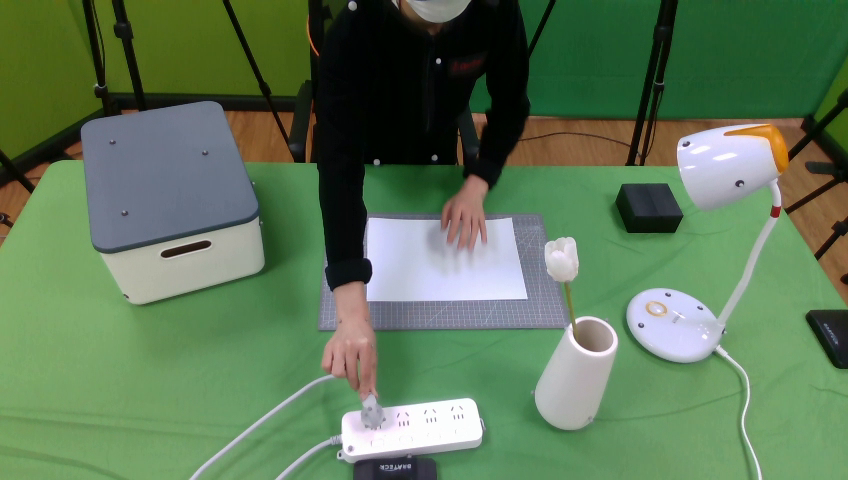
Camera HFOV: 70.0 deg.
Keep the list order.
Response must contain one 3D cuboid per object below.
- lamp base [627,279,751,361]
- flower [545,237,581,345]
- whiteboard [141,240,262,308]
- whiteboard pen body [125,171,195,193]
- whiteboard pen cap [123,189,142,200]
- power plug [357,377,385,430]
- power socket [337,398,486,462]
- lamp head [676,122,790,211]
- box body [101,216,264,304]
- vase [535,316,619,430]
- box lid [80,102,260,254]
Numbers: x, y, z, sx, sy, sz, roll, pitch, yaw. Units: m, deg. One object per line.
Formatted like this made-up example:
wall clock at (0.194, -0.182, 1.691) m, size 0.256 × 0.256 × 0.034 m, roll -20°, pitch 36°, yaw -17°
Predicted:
lamp base at (0.460, 0.100, 1.027) m, size 0.178 × 0.181 × 0.160 m, roll 27°, pitch 51°, yaw 17°
flower at (0.213, 0.137, 0.846) m, size 0.038 × 0.364 × 0.044 m, roll 22°, pitch 55°, yaw 40°
whiteboard at (-0.464, -0.059, 1.137) m, size 0.217 × 0.144 × 0.303 m, roll -19°, pitch 51°, yaw -17°
whiteboard pen body at (-0.553, -0.119, 1.270) m, size 0.141 × 0.017 × 0.017 m, roll -18°, pitch 50°, yaw -15°
whiteboard pen cap at (-0.591, -0.093, 1.231) m, size 0.033 × 0.018 × 0.018 m, roll -13°, pitch 49°, yaw -18°
power plug at (-0.077, 0.243, 0.897) m, size 0.035 × 0.053 × 0.072 m, roll -6°, pitch 45°, yaw -5°
power socket at (-0.017, 0.286, 0.914) m, size 0.227 × 0.033 × 0.071 m, roll -4°, pitch 46°, yaw -8°
lamp head at (0.423, -0.104, 0.819) m, size 0.122 × 0.113 × 0.112 m, roll -13°, pitch 33°, yaw 40°
box body at (-0.465, -0.076, 1.137) m, size 0.254 × 0.161 × 0.361 m, roll -16°, pitch 50°, yaw -19°
vase at (0.229, 0.200, 0.901) m, size 0.098 × 0.201 × 0.097 m, roll 3°, pitch 46°, yaw -3°
box lid at (-0.461, -0.127, 1.082) m, size 0.264 × 0.015 × 0.369 m, roll -15°, pitch 49°, yaw -19°
